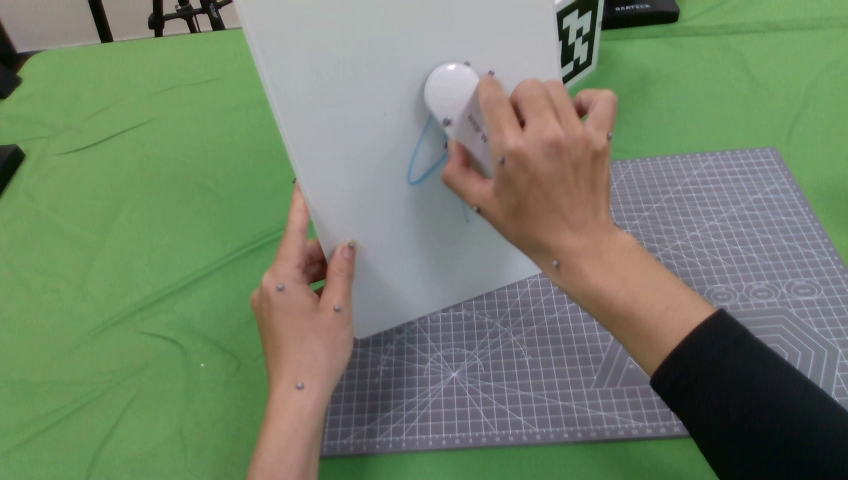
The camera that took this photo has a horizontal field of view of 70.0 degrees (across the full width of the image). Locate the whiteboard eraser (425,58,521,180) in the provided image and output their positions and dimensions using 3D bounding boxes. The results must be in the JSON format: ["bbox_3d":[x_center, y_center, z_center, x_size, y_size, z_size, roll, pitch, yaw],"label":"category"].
[{"bbox_3d":[0.037,-0.088,0.448,0.041,0.102,0.018,-40,28,-4],"label":"whiteboard eraser"}]

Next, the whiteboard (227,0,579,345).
[{"bbox_3d":[-0.012,-0.104,0.514,0.217,0.308,0.142,-20,30,-8],"label":"whiteboard"}]
